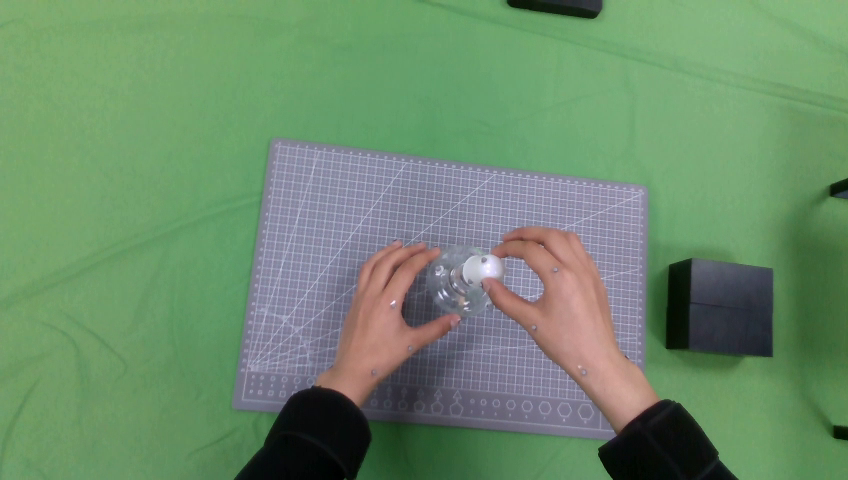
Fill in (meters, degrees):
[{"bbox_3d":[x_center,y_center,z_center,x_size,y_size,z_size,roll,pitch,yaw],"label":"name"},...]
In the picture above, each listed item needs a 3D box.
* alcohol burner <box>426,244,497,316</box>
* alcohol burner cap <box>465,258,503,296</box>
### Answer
[{"bbox_3d":[0.043,0.040,0.631,0.078,0.119,0.077,2,80,-9],"label":"alcohol burner"},{"bbox_3d":[0.057,0.033,0.564,0.034,0.048,0.033,1,78,-4],"label":"alcohol burner cap"}]
